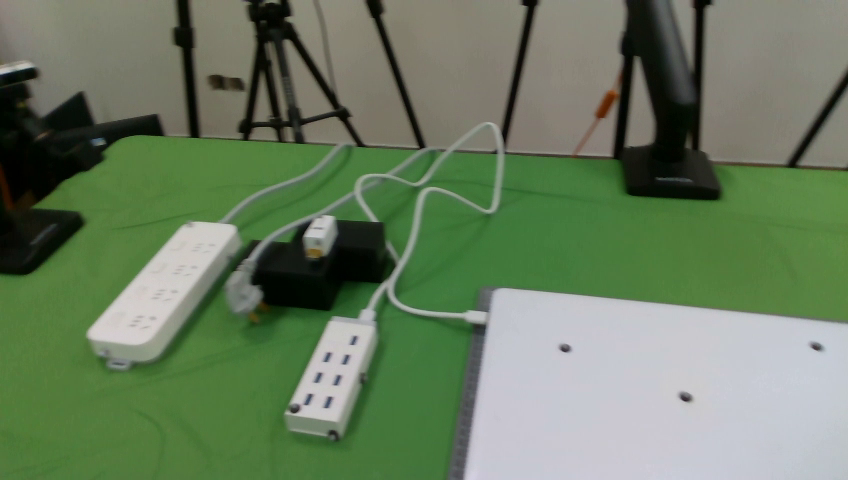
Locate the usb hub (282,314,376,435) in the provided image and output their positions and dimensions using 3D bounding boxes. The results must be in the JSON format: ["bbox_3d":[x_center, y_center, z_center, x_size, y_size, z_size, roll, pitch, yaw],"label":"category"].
[{"bbox_3d":[-0.086,0.121,0.568,0.049,0.025,0.124,5,37,12],"label":"usb hub"}]

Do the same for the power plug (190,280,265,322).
[{"bbox_3d":[-0.202,0.067,0.638,0.072,0.053,0.035,-16,31,40],"label":"power plug"}]

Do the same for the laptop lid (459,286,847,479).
[{"bbox_3d":[0.219,0.133,0.518,0.356,0.013,0.240,6,39,12],"label":"laptop lid"}]

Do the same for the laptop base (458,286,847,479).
[{"bbox_3d":[0.220,0.141,0.527,0.353,0.023,0.233,5,40,10],"label":"laptop base"}]

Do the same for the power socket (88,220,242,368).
[{"bbox_3d":[-0.278,0.048,0.672,0.072,0.033,0.225,6,37,11],"label":"power socket"}]

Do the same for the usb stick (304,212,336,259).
[{"bbox_3d":[-0.114,-0.004,0.652,0.021,0.027,0.058,6,39,8],"label":"usb stick"}]
